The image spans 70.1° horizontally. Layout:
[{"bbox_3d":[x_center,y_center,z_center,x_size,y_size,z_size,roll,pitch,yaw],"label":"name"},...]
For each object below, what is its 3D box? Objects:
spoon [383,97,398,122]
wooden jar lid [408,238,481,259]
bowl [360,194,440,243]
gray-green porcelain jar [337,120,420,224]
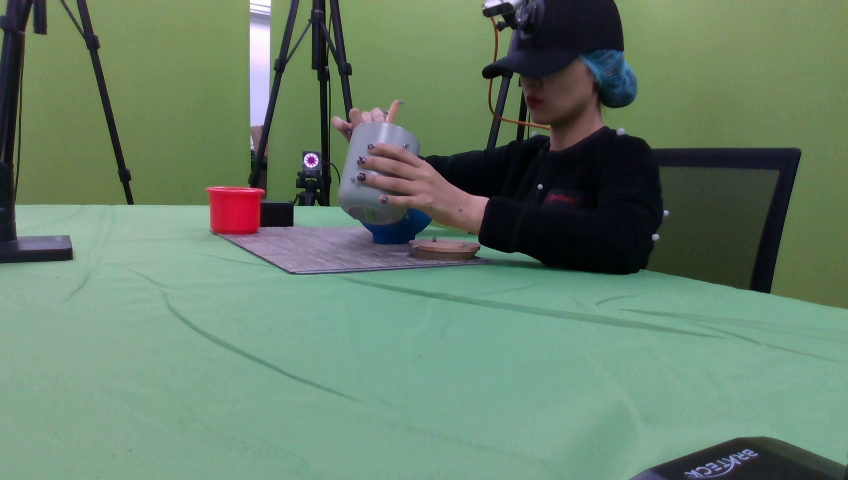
[{"bbox_3d":[-0.072,-0.149,0.900,0.041,0.022,0.193,-13,39,36],"label":"spoon"},{"bbox_3d":[0.031,0.012,0.895,0.108,0.020,0.108,2,8,0],"label":"wooden jar lid"},{"bbox_3d":[-0.050,-0.038,1.033,0.151,0.077,0.151,3,7,0],"label":"bowl"},{"bbox_3d":[-0.068,-0.095,0.892,0.106,0.126,0.106,9,-19,4],"label":"gray-green porcelain jar"}]
